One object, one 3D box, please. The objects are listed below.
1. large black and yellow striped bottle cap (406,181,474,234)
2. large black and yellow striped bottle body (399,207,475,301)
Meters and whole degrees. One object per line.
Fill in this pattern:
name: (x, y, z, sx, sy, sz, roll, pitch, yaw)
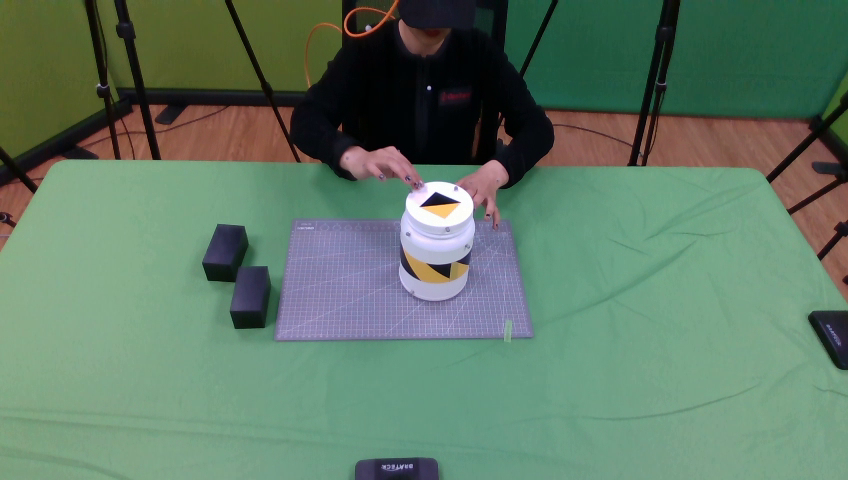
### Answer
large black and yellow striped bottle cap: (0.026, -0.056, 1.014, 0.115, 0.019, 0.114, 1, 47, -1)
large black and yellow striped bottle body: (0.021, 0.005, 1.077, 0.131, 0.185, 0.130, 2, 46, -2)
